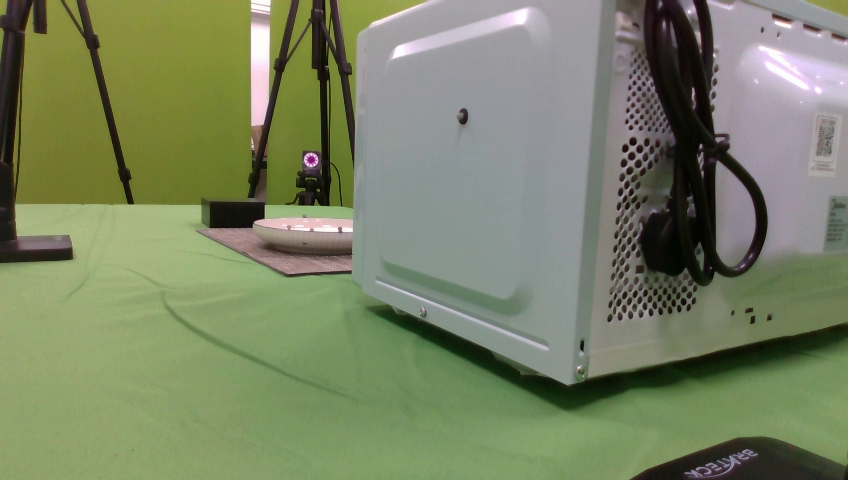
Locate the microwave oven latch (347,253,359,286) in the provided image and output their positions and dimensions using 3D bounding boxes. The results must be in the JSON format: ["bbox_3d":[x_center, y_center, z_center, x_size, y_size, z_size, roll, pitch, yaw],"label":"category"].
[{"bbox_3d":[-0.034,0.028,0.581,0.079,0.029,0.030,-1,7,-31],"label":"microwave oven latch"}]

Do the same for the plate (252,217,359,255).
[{"bbox_3d":[-0.155,-0.007,0.924,0.209,0.038,0.209,3,7,0],"label":"plate"}]

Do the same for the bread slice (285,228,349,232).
[{"bbox_3d":[-0.153,-0.005,0.921,0.132,0.019,0.104,0,7,-30],"label":"bread slice"}]

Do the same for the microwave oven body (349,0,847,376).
[{"bbox_3d":[0.199,-0.053,0.540,0.444,0.260,0.324,-1,7,-32],"label":"microwave oven body"}]

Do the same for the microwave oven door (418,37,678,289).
[{"bbox_3d":[0.159,-0.078,0.684,0.358,0.243,0.039,-2,9,-32],"label":"microwave oven door"}]
